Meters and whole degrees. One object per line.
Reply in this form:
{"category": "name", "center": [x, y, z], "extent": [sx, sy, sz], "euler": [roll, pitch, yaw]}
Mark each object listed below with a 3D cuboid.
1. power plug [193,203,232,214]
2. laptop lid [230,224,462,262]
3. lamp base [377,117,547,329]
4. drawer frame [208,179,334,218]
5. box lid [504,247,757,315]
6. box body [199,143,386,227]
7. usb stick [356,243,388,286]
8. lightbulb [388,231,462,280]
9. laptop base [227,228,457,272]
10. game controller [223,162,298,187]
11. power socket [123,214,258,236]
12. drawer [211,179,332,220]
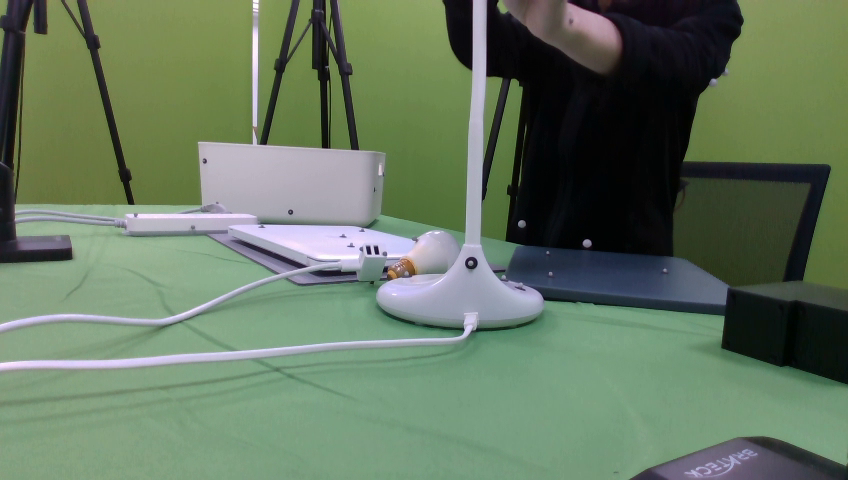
{"category": "power plug", "center": [-0.393, -0.042, 1.139], "extent": [0.072, 0.052, 0.035], "euler": [-14, 1, 31]}
{"category": "laptop lid", "center": [-0.119, 0.000, 0.889], "extent": [0.243, 0.013, 0.355], "euler": [1, 7, -33]}
{"category": "lamp base", "center": [0.041, -0.019, 0.552], "extent": [0.161, 0.180, 0.179], "euler": [1, 10, -10]}
{"category": "drawer frame", "center": [-0.327, -0.093, 1.328], "extent": [0.213, 0.082, 0.202], "euler": [0, 5, 6]}
{"category": "box lid", "center": [0.244, 0.044, 0.793], "extent": [0.263, 0.015, 0.372], "euler": [4, 7, 11]}
{"category": "box body", "center": [-0.276, -0.124, 1.335], "extent": [0.364, 0.160, 0.254], "euler": [3, 7, 1]}
{"category": "usb stick", "center": [-0.058, 0.029, 0.658], "extent": [0.027, 0.059, 0.021], "euler": [-5, 52, -18]}
{"category": "lightbulb", "center": [-0.001, 0.026, 0.703], "extent": [0.059, 0.059, 0.108], "euler": [10, 26, 43]}
{"category": "laptop base", "center": [-0.122, 0.012, 0.889], "extent": [0.237, 0.023, 0.352], "euler": [1, 7, -35]}
{"category": "game controller", "center": [-0.357, -0.143, 1.322], "extent": [0.156, 0.051, 0.097], "euler": [1, 3, -17]}
{"category": "power socket", "center": [-0.398, -0.028, 1.049], "extent": [0.228, 0.032, 0.072], "euler": [-3, 8, -34]}
{"category": "drawer", "center": [-0.328, -0.095, 1.332], "extent": [0.212, 0.073, 0.194], "euler": [5, 8, 6]}
